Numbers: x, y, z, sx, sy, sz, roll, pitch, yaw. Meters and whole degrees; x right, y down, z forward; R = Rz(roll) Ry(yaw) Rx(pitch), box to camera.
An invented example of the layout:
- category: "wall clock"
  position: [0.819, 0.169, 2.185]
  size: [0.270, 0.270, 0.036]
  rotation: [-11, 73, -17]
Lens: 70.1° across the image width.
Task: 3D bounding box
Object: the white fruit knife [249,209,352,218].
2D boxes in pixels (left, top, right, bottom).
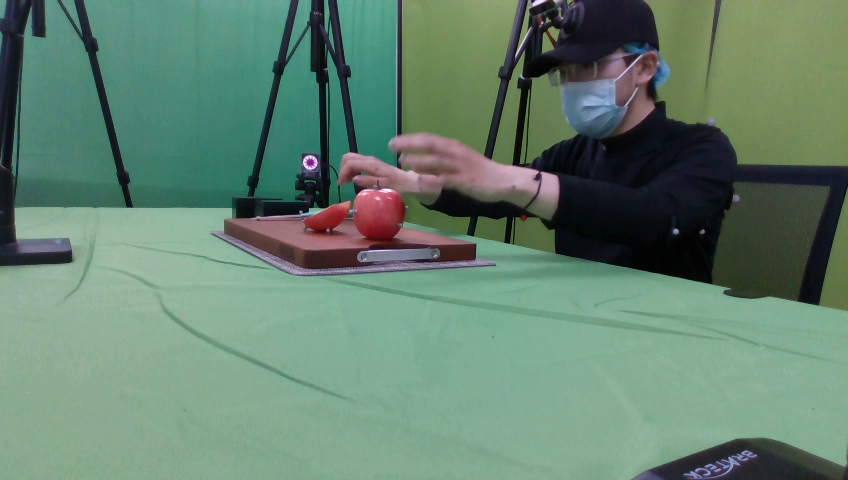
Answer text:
- category: "white fruit knife"
  position: [-0.220, -0.047, 1.116]
  size: [0.208, 0.016, 0.027]
  rotation: [-4, -5, -35]

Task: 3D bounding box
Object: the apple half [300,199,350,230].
- category: "apple half"
  position: [-0.147, -0.035, 0.941]
  size: [0.081, 0.033, 0.081]
  rotation: [-22, 1, 1]

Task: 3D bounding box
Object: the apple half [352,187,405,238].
- category: "apple half"
  position: [-0.059, -0.038, 0.878]
  size: [0.053, 0.074, 0.081]
  rotation: [15, 10, 39]
